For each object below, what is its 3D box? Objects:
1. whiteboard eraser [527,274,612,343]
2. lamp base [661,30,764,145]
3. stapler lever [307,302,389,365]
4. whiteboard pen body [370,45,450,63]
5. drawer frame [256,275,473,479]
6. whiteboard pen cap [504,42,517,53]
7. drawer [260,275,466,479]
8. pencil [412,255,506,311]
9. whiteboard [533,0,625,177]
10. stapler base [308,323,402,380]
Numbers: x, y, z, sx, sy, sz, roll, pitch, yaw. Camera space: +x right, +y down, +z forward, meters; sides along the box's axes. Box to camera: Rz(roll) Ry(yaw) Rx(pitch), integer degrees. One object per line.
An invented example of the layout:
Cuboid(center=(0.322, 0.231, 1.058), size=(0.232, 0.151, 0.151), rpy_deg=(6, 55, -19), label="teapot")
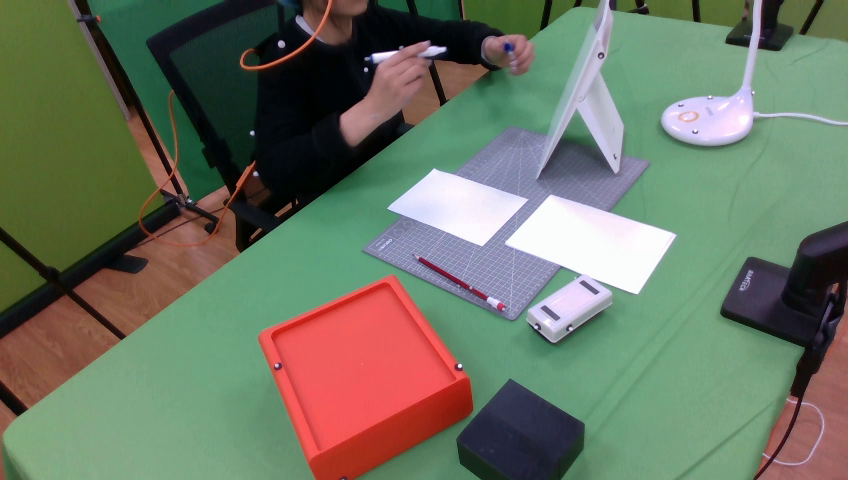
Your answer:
Cuboid(center=(0.198, 0.094, 0.820), size=(0.113, 0.042, 0.055), rpy_deg=(-30, 43, -22), label="whiteboard eraser")
Cuboid(center=(0.535, -0.287, 1.096), size=(0.179, 0.181, 0.159), rpy_deg=(-10, 40, -4), label="lamp base")
Cuboid(center=(-0.101, 0.121, 0.799), size=(0.118, 0.040, 0.026), rpy_deg=(-25, 29, -17), label="stapler lever")
Cuboid(center=(-0.023, -0.322, 1.042), size=(0.141, 0.017, 0.017), rpy_deg=(-10, 40, -7), label="whiteboard pen body")
Cuboid(center=(-0.078, 0.164, 0.756), size=(0.202, 0.083, 0.211), rpy_deg=(-23, 43, -17), label="drawer frame")
Cuboid(center=(0.167, -0.372, 1.167), size=(0.018, 0.018, 0.033), rpy_deg=(14, 14, 25), label="whiteboard pen cap")
Cuboid(center=(-0.080, 0.162, 0.760), size=(0.195, 0.073, 0.210), rpy_deg=(-22, 42, -16), label="drawer")
Cuboid(center=(0.047, 0.060, 0.906), size=(0.012, 0.012, 0.192), rpy_deg=(-37, 46, -29), label="pencil")
Cuboid(center=(0.321, -0.258, 1.049), size=(0.144, 0.306, 0.217), rpy_deg=(20, 45, 4), label="whiteboard")
Cuboid(center=(-0.094, 0.142, 0.812), size=(0.131, 0.024, 0.041), rpy_deg=(-25, 29, -17), label="stapler base")
